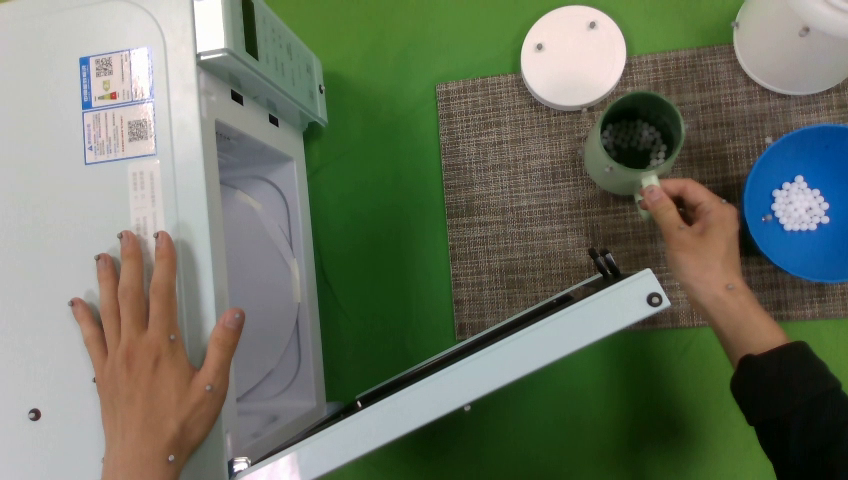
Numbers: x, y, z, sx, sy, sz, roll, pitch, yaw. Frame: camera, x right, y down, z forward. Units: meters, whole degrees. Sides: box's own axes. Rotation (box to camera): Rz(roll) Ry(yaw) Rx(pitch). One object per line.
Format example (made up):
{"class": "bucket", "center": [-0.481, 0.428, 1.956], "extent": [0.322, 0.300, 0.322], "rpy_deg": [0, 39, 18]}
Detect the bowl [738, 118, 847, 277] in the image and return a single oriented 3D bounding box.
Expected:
{"class": "bowl", "center": [0.384, -0.038, 0.601], "extent": [0.151, 0.077, 0.151], "rpy_deg": [-1, 87, 11]}

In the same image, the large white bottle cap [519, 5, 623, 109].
{"class": "large white bottle cap", "center": [0.163, -0.205, 0.677], "extent": [0.114, 0.018, 0.114], "rpy_deg": [-1, 86, 10]}

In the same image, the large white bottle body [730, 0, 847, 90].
{"class": "large white bottle body", "center": [0.375, -0.231, 0.557], "extent": [0.130, 0.185, 0.130], "rpy_deg": [-1, 83, 10]}

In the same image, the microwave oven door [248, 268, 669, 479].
{"class": "microwave oven door", "center": [0.034, 0.122, 0.559], "extent": [0.356, 0.244, 0.039], "rpy_deg": [-29, 81, 7]}

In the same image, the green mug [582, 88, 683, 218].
{"class": "green mug", "center": [0.216, -0.084, 0.617], "extent": [0.092, 0.105, 0.125], "rpy_deg": [-17, 82, 9]}

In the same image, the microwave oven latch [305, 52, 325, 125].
{"class": "microwave oven latch", "center": [-0.135, -0.176, 0.705], "extent": [0.030, 0.029, 0.079], "rpy_deg": [-7, 87, 9]}

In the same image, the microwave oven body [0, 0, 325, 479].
{"class": "microwave oven body", "center": [-0.278, 0.011, 0.623], "extent": [0.325, 0.261, 0.441], "rpy_deg": [-7, 87, 9]}
